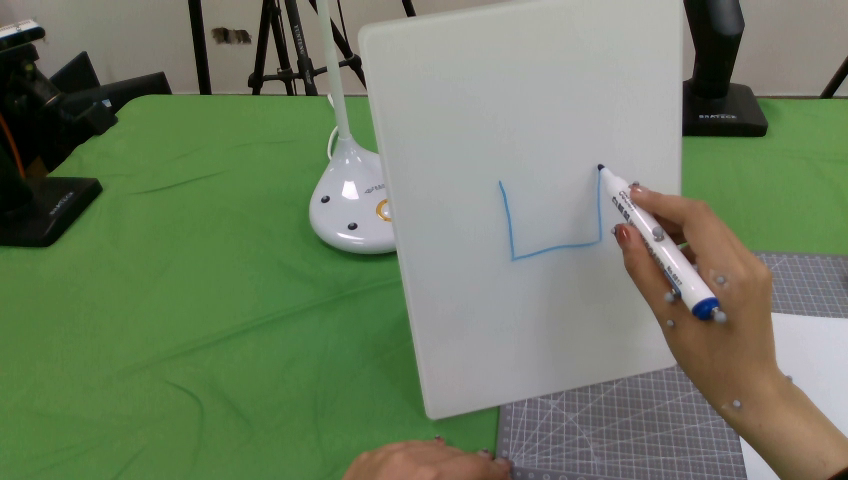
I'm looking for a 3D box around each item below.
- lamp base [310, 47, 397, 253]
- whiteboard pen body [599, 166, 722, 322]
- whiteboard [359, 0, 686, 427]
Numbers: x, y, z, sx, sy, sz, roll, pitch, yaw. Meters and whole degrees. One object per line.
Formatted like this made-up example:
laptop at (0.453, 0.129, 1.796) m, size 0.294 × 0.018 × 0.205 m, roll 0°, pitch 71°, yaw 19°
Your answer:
lamp base at (-0.065, -0.105, 0.651) m, size 0.161 × 0.182 × 0.177 m, roll -30°, pitch 44°, yaw -25°
whiteboard pen body at (0.143, -0.005, 0.383) m, size 0.017 × 0.017 × 0.139 m, roll -13°, pitch 46°, yaw -7°
whiteboard at (0.078, -0.035, 0.501) m, size 0.217 × 0.307 × 0.142 m, roll -11°, pitch 22°, yaw -4°
